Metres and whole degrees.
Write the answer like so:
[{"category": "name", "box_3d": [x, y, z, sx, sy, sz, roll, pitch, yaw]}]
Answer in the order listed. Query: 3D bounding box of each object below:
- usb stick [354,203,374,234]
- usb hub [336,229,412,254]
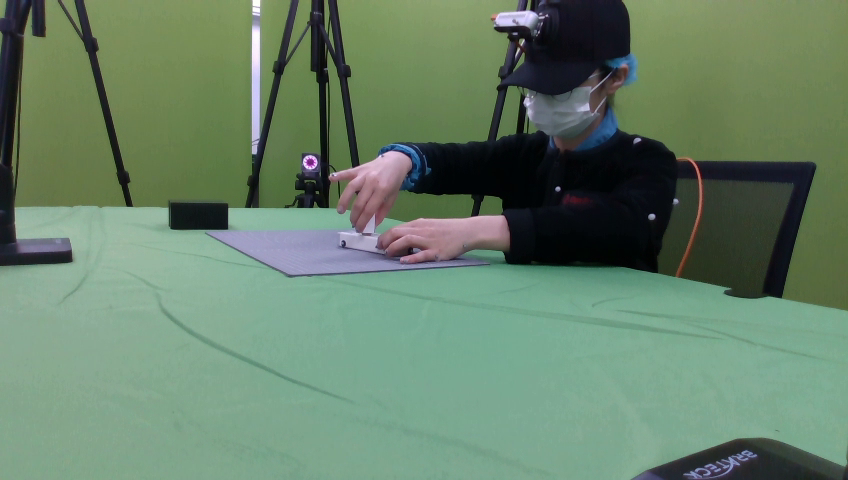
[{"category": "usb stick", "box_3d": [-0.093, -0.028, 0.938, 0.021, 0.059, 0.027, 5, 8, 38]}, {"category": "usb hub", "box_3d": [-0.080, 0.001, 0.947, 0.124, 0.025, 0.050, 8, 10, 40]}]
